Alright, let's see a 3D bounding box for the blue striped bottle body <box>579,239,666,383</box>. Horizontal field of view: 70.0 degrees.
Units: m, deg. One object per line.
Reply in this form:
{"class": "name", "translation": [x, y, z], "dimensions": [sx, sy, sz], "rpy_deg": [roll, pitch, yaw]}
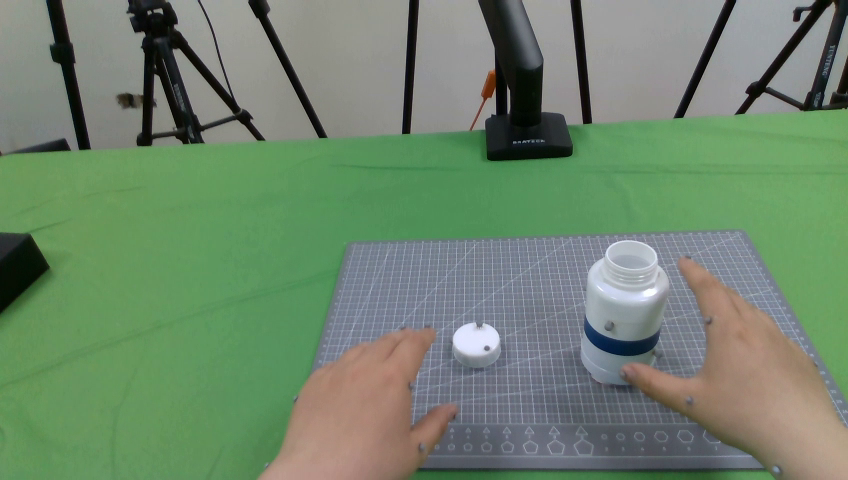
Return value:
{"class": "blue striped bottle body", "translation": [0.165, 0.058, 0.506], "dimensions": [0.063, 0.122, 0.062], "rpy_deg": [-4, 37, 3]}

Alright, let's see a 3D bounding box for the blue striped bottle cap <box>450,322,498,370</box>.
{"class": "blue striped bottle cap", "translation": [0.046, 0.097, 0.560], "dimensions": [0.044, 0.021, 0.044], "rpy_deg": [-3, 36, 2]}
